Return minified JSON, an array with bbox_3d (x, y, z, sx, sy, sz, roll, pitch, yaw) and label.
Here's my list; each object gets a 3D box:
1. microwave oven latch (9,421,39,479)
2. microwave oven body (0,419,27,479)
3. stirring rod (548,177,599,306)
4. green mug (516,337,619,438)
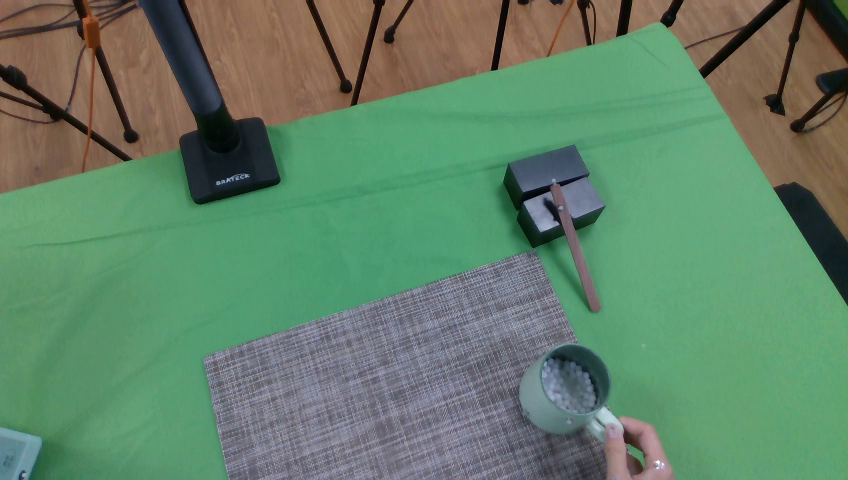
[{"bbox_3d":[-0.449,0.239,0.658,0.030,0.030,0.078,11,67,2],"label":"microwave oven latch"},{"bbox_3d":[-0.619,0.335,0.501,0.326,0.262,0.438,9,67,1],"label":"microwave oven body"},{"bbox_3d":[0.195,0.002,0.790,0.014,0.006,0.176,-19,93,0],"label":"stirring rod"},{"bbox_3d":[0.170,0.175,0.695,0.092,0.105,0.124,-41,74,-18],"label":"green mug"}]
